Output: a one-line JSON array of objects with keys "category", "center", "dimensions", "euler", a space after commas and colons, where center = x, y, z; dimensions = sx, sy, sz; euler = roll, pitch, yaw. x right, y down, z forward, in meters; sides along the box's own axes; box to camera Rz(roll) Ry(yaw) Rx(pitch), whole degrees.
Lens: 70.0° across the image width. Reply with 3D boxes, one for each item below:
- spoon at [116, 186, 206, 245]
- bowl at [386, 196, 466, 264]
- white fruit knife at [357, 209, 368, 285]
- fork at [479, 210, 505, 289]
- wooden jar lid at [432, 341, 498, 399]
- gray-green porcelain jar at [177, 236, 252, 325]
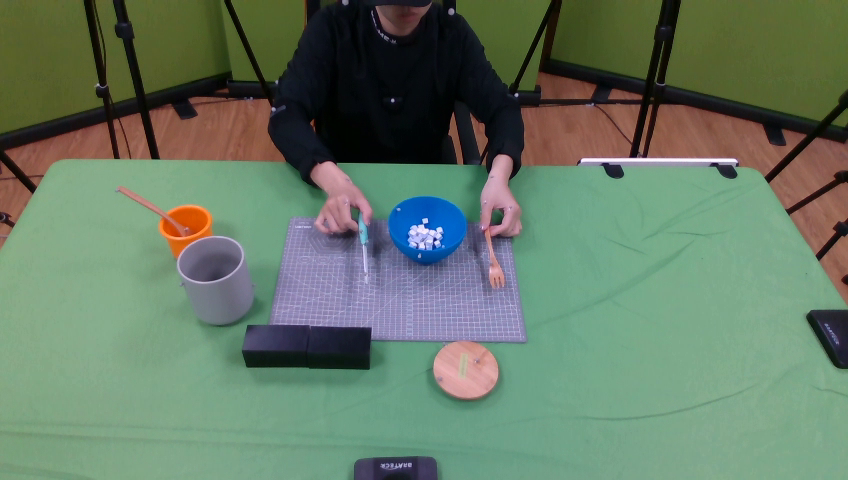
[{"category": "spoon", "center": [-0.474, -0.041, 1.112], "dimensions": [0.021, 0.195, 0.041], "euler": [-31, 32, 30]}, {"category": "bowl", "center": [0.002, -0.007, 1.162], "dimensions": [0.151, 0.077, 0.150], "euler": [3, 46, -2]}, {"category": "white fruit knife", "center": [-0.113, 0.008, 1.135], "dimensions": [0.016, 0.027, 0.206], "euler": [-17, 43, 6]}, {"category": "fork", "center": [0.126, 0.015, 1.165], "dimensions": [0.028, 0.019, 0.206], "euler": [-15, 50, 8]}, {"category": "wooden jar lid", "center": [0.067, 0.216, 0.997], "dimensions": [0.108, 0.021, 0.107], "euler": [1, 46, -1]}, {"category": "gray-green porcelain jar", "center": [-0.350, 0.073, 1.027], "dimensions": [0.106, 0.127, 0.105], "euler": [3, 46, -3]}]
